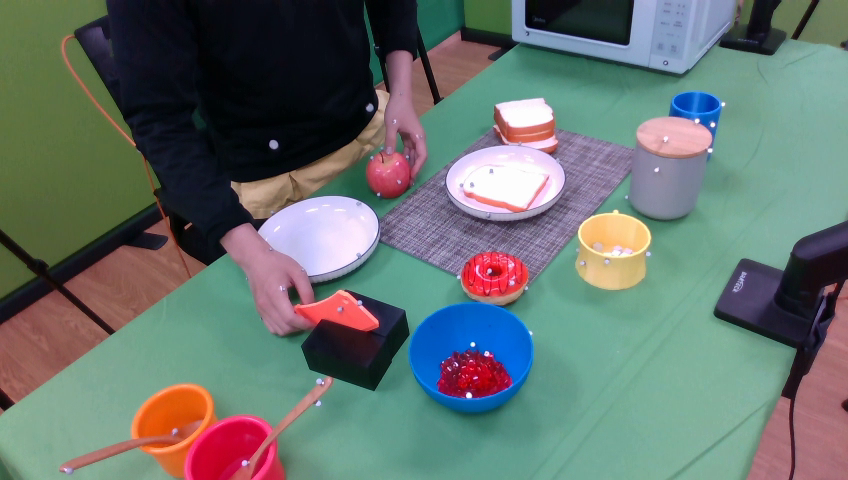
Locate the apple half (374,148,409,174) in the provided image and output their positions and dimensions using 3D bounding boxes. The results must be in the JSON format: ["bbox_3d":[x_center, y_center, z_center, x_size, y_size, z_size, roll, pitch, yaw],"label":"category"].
[{"bbox_3d":[-0.055,-0.136,1.096,0.081,0.081,0.033,17,46,26],"label":"apple half"}]

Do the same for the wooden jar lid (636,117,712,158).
[{"bbox_3d":[0.377,-0.151,0.917,0.108,0.021,0.108,-2,41,2],"label":"wooden jar lid"}]

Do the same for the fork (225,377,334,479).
[{"bbox_3d":[-0.163,0.216,0.646,0.207,0.019,0.028,-49,42,16],"label":"fork"}]

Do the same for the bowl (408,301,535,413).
[{"bbox_3d":[0.060,0.156,0.739,0.151,0.077,0.150,-4,40,4],"label":"bowl"}]

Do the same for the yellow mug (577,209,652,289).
[{"bbox_3d":[0.279,0.004,0.893,0.099,0.064,0.130,5,41,15],"label":"yellow mug"}]

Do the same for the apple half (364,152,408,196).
[{"bbox_3d":[-0.073,-0.112,1.074,0.080,0.075,0.053,20,53,23],"label":"apple half"}]

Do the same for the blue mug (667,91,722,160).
[{"bbox_3d":[0.474,-0.207,1.079,0.082,0.106,0.116,4,42,13],"label":"blue mug"}]

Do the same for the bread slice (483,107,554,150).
[{"bbox_3d":[0.186,-0.203,1.161,0.105,0.019,0.130,-22,44,-5],"label":"bread slice"}]

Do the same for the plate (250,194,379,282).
[{"bbox_3d":[-0.174,-0.001,0.984,0.209,0.038,0.208,-3,40,3],"label":"plate"}]

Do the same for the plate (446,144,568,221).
[{"bbox_3d":[0.142,-0.096,1.045,0.207,0.039,0.206,-4,40,4],"label":"plate"}]

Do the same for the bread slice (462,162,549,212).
[{"bbox_3d":[0.135,-0.093,1.045,0.133,0.018,0.107,15,45,23],"label":"bread slice"}]

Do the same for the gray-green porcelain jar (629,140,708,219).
[{"bbox_3d":[0.383,-0.105,0.958,0.106,0.127,0.105,-4,41,4],"label":"gray-green porcelain jar"}]

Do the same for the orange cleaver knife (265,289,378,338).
[{"bbox_3d":[-0.144,0.105,0.823,0.210,0.077,0.012,-13,30,43],"label":"orange cleaver knife"}]

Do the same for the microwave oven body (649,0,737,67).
[{"bbox_3d":[0.475,-0.602,1.411,0.438,0.261,0.327,23,50,32],"label":"microwave oven body"}]

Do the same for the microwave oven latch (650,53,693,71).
[{"bbox_3d":[0.531,-0.386,1.301,0.078,0.029,0.030,26,51,33],"label":"microwave oven latch"}]

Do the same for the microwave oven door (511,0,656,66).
[{"bbox_3d":[0.351,-0.539,1.348,0.353,0.245,0.039,24,50,31],"label":"microwave oven door"}]

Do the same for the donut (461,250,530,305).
[{"bbox_3d":[0.103,0.053,0.872,0.099,0.048,0.098,-4,40,4],"label":"donut"}]

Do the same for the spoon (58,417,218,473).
[{"bbox_3d":[-0.304,0.221,0.661,0.041,0.195,0.021,19,92,27],"label":"spoon"}]
